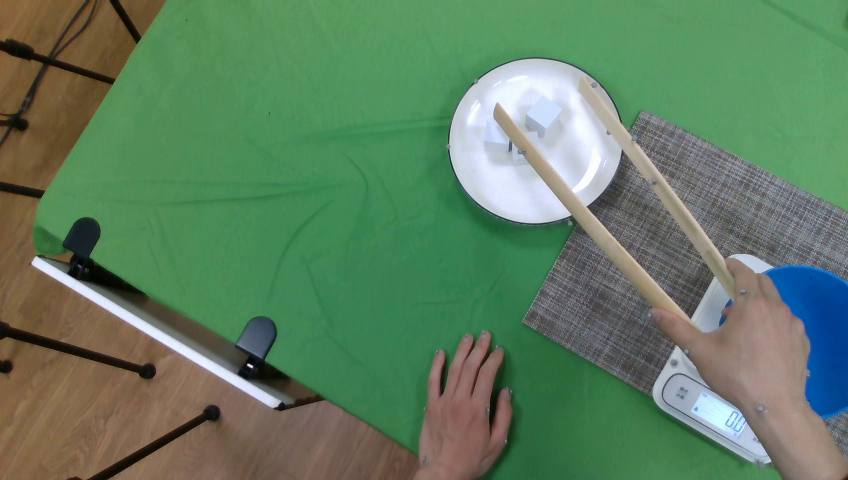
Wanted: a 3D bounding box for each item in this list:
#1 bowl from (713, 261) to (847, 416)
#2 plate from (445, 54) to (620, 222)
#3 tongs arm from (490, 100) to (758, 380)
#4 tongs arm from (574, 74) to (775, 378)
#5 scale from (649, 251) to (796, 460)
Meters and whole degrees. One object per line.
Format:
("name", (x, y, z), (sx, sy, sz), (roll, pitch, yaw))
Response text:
("bowl", (0.366, 0.100, 0.624), (0.151, 0.077, 0.151), (-1, 82, 4))
("plate", (0.130, -0.121, 0.736), (0.207, 0.039, 0.207), (-1, 81, 5))
("tongs arm", (0.176, -0.017, 0.610), (0.028, 0.028, 0.383), (-23, 59, -20))
("tongs arm", (0.234, -0.038, 0.624), (0.051, 0.027, 0.380), (-18, 58, -14))
("scale", (0.360, 0.126, 0.675), (0.148, 0.032, 0.200), (30, 85, 9))
